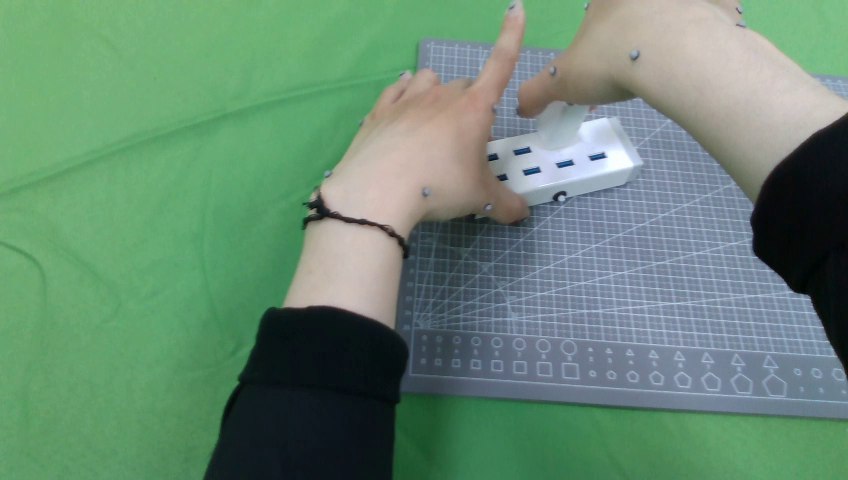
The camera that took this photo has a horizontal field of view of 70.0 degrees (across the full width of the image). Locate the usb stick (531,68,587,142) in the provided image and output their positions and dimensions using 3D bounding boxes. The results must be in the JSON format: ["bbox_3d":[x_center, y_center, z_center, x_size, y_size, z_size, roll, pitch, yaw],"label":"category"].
[{"bbox_3d":[0.090,-0.087,0.416,0.021,0.059,0.027,-14,61,-12],"label":"usb stick"}]

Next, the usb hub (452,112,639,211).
[{"bbox_3d":[0.086,-0.058,0.433,0.125,0.025,0.049,-13,63,-13],"label":"usb hub"}]
